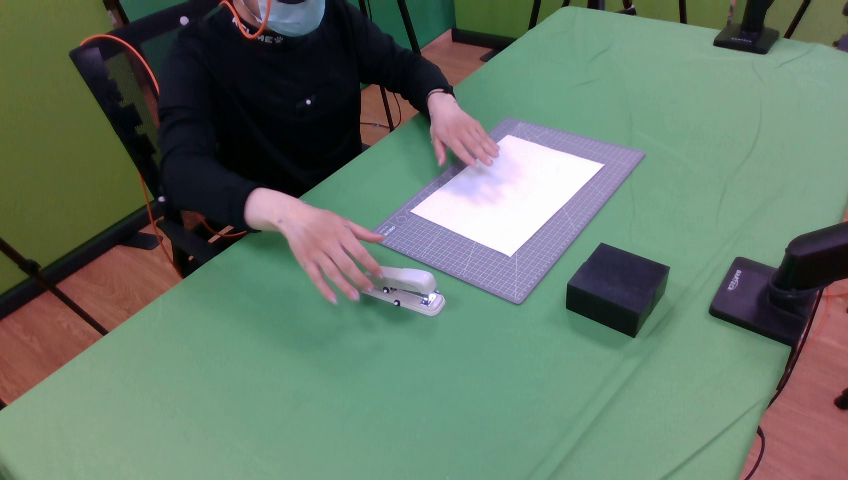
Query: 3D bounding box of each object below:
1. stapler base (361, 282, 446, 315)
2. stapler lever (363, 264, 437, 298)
[{"bbox_3d":[-0.031,0.073,0.889,0.130,0.024,0.041,15,42,26],"label":"stapler base"},{"bbox_3d":[-0.036,0.053,0.873,0.117,0.040,0.027,14,42,26],"label":"stapler lever"}]
